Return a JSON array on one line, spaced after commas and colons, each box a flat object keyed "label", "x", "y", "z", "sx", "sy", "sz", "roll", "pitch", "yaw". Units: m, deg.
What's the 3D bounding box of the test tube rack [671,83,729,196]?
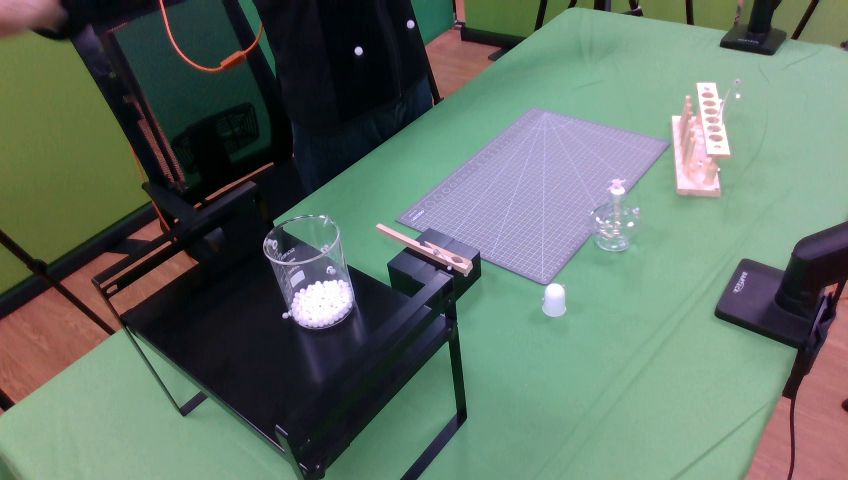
[{"label": "test tube rack", "x": 0.482, "y": -0.184, "z": 1.067, "sx": 0.066, "sy": 0.085, "sz": 0.242, "roll": 5, "pitch": 42, "yaw": 15}]

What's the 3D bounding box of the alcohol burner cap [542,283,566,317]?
[{"label": "alcohol burner cap", "x": 0.181, "y": 0.081, "z": 0.840, "sx": 0.034, "sy": 0.048, "sz": 0.033, "roll": -3, "pitch": 40, "yaw": 3}]

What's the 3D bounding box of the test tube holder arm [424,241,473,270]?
[{"label": "test tube holder arm", "x": 0.033, "y": 0.022, "z": 0.872, "sx": 0.087, "sy": 0.015, "sz": 0.010, "roll": 22, "pitch": 50, "yaw": 32}]

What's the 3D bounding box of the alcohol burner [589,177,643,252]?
[{"label": "alcohol burner", "x": 0.290, "y": -0.042, "z": 0.910, "sx": 0.078, "sy": 0.119, "sz": 0.077, "roll": -6, "pitch": 40, "yaw": 5}]

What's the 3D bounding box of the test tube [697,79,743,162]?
[{"label": "test tube", "x": 0.486, "y": -0.194, "z": 0.998, "sx": 0.017, "sy": 0.150, "sz": 0.017, "roll": 5, "pitch": 40, "yaw": -4}]

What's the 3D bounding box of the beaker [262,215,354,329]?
[{"label": "beaker", "x": -0.112, "y": 0.034, "z": 0.616, "sx": 0.073, "sy": 0.101, "sz": 0.084, "roll": 13, "pitch": 44, "yaw": 23}]

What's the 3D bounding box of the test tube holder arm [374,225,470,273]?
[{"label": "test tube holder arm", "x": -0.006, "y": 0.012, "z": 0.893, "sx": 0.177, "sy": 0.015, "sz": 0.013, "roll": 21, "pitch": 50, "yaw": 32}]
